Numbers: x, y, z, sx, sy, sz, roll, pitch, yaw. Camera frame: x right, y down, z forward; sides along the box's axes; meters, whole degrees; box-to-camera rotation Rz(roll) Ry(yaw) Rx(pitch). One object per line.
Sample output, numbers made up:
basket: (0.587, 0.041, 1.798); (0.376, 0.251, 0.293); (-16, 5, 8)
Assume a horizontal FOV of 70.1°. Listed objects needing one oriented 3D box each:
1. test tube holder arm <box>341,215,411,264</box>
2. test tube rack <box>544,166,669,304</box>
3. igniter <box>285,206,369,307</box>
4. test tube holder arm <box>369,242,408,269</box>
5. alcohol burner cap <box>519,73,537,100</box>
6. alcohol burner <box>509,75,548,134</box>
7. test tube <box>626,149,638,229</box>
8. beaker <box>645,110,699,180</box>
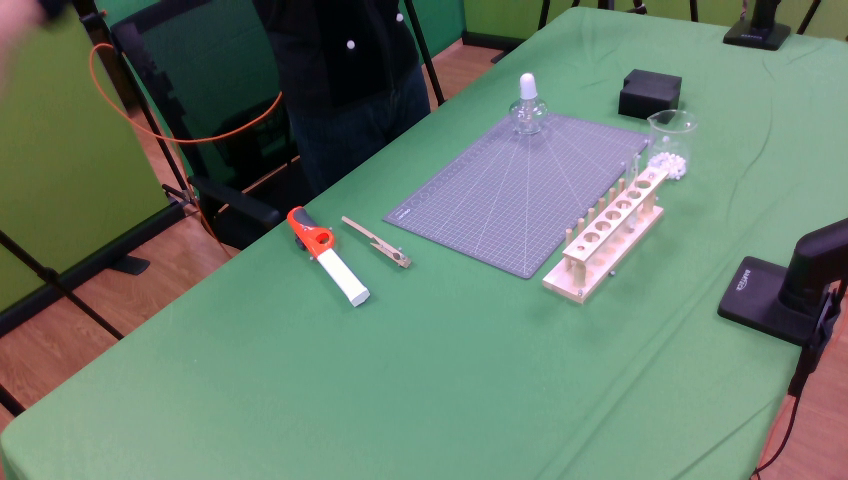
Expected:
test tube holder arm: (-0.083, -0.002, 1.000); (0.177, 0.015, 0.013); (33, 86, 40)
test tube rack: (0.274, -0.018, 0.903); (0.066, 0.085, 0.243); (26, 51, 35)
igniter: (-0.166, 0.018, 0.986); (0.057, 0.025, 0.274); (-34, 45, -13)
test tube holder arm: (-0.057, 0.021, 0.971); (0.087, 0.015, 0.010); (34, 87, 40)
alcohol burner cap: (0.198, -0.298, 1.163); (0.034, 0.048, 0.033); (-9, 37, 8)
alcohol burner: (0.204, -0.270, 1.186); (0.078, 0.119, 0.077); (-5, 42, 5)
test tube: (0.304, -0.071, 0.882); (0.017, 0.151, 0.017); (-9, 44, 10)
beaker: (0.417, -0.160, 1.032); (0.083, 0.101, 0.074); (25, 51, 35)
